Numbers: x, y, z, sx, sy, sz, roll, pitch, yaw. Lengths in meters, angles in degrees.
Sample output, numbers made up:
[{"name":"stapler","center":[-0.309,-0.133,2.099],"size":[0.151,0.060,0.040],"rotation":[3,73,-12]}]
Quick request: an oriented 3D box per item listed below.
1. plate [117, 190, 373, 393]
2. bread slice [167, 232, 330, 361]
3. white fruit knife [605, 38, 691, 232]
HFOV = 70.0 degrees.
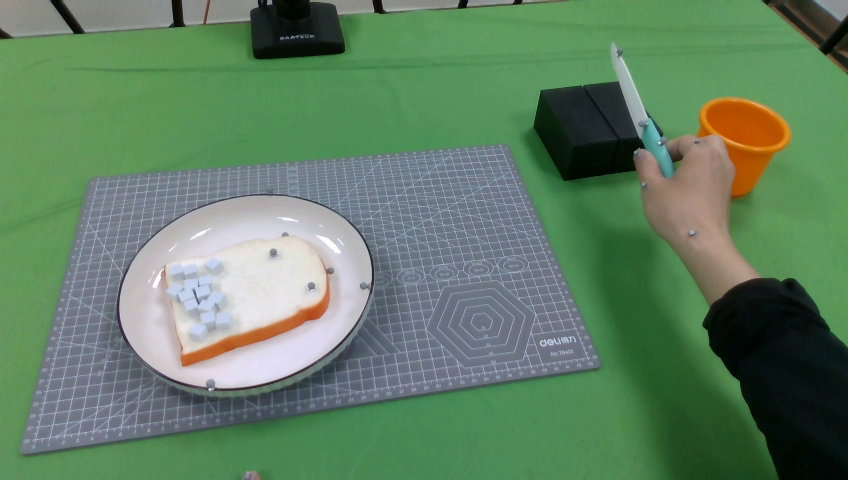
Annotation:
[{"name":"plate","center":[-0.147,0.041,0.520],"size":[0.209,0.038,0.207],"rotation":[2,49,-2]},{"name":"bread slice","center":[-0.150,0.038,0.525],"size":[0.132,0.019,0.103],"rotation":[-19,53,-17]},{"name":"white fruit knife","center":[0.210,-0.107,0.578],"size":[0.016,0.027,0.206],"rotation":[-11,73,-15]}]
